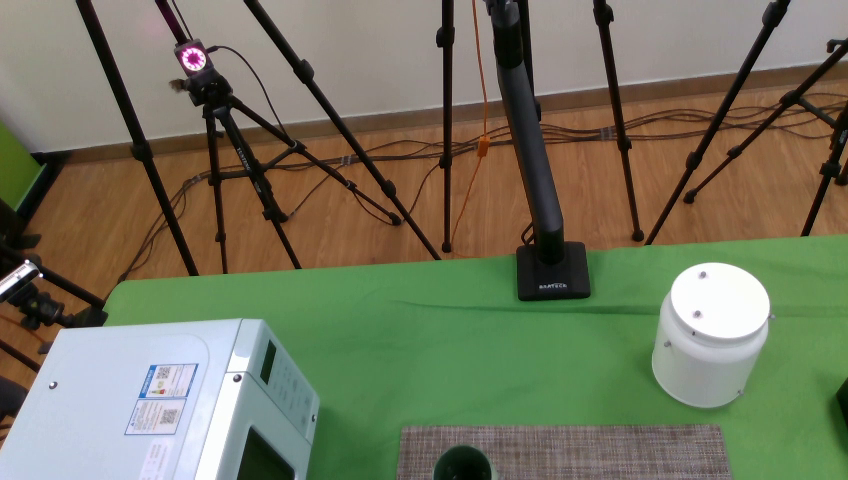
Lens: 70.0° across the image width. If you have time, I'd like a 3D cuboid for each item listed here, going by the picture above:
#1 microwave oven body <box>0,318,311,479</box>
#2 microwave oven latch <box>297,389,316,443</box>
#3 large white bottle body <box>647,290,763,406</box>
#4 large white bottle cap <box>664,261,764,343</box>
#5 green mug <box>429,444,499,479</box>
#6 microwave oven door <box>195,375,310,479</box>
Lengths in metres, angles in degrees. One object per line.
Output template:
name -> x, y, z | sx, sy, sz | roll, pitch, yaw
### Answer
microwave oven body -> -0.357, 0.354, 0.763 | 0.325, 0.263, 0.437 | -4, 51, 10
microwave oven latch -> -0.184, 0.267, 0.922 | 0.030, 0.030, 0.078 | -4, 51, 10
large white bottle body -> 0.379, 0.130, 0.824 | 0.130, 0.186, 0.129 | -7, 50, 9
large white bottle cap -> 0.363, 0.075, 0.760 | 0.115, 0.018, 0.113 | -6, 50, 8
green mug -> 0.055, 0.336, 0.779 | 0.092, 0.106, 0.124 | -10, 49, 5
microwave oven door -> -0.217, 0.371, 0.707 | 0.039, 0.246, 0.352 | -5, 50, 10
